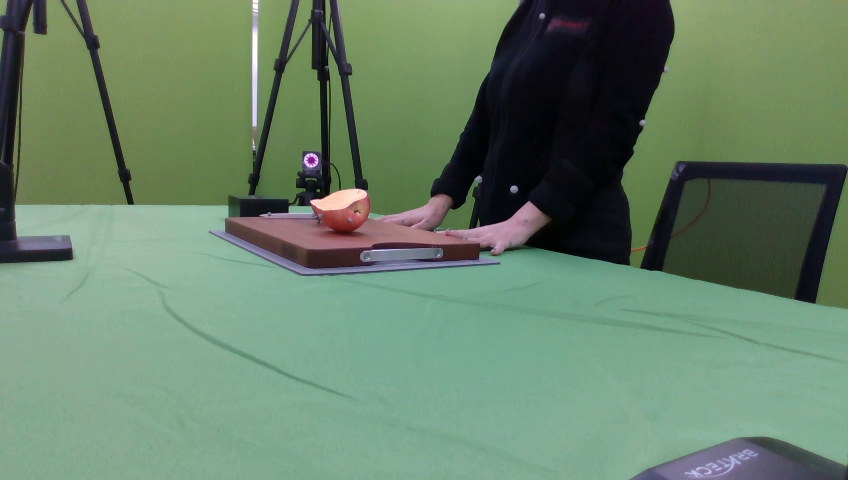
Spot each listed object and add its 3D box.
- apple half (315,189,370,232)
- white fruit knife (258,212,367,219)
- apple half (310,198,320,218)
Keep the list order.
[{"bbox_3d":[-0.123,-0.041,0.929,0.074,0.053,0.081,11,35,39],"label":"apple half"},{"bbox_3d":[-0.200,-0.046,1.112,0.208,0.016,0.027,-2,-20,-26],"label":"white fruit knife"},{"bbox_3d":[-0.160,-0.044,1.036,0.081,0.033,0.081,16,15,-4],"label":"apple half"}]
